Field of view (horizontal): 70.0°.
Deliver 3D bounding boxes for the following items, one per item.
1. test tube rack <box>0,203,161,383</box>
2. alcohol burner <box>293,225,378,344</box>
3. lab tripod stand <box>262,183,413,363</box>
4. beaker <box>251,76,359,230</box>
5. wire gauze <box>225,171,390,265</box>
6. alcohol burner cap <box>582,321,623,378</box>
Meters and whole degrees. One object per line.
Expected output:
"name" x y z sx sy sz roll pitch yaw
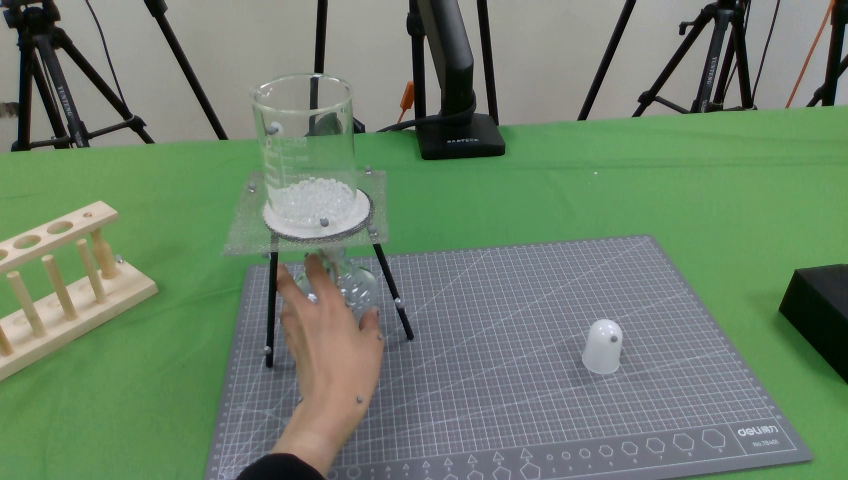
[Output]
"test tube rack" -0.369 0.062 0.531 0.066 0.086 0.242 25 42 31
"alcohol burner" -0.080 0.035 0.539 0.078 0.120 0.077 1 37 -1
"lab tripod stand" -0.081 0.027 0.532 0.148 0.132 0.147 1 34 0
"beaker" -0.090 -0.066 0.465 0.083 0.101 0.074 20 39 23
"wire gauze" -0.089 -0.025 0.491 0.121 0.011 0.124 -3 37 -4
"alcohol burner cap" 0.155 0.091 0.520 0.034 0.048 0.033 0 36 0
